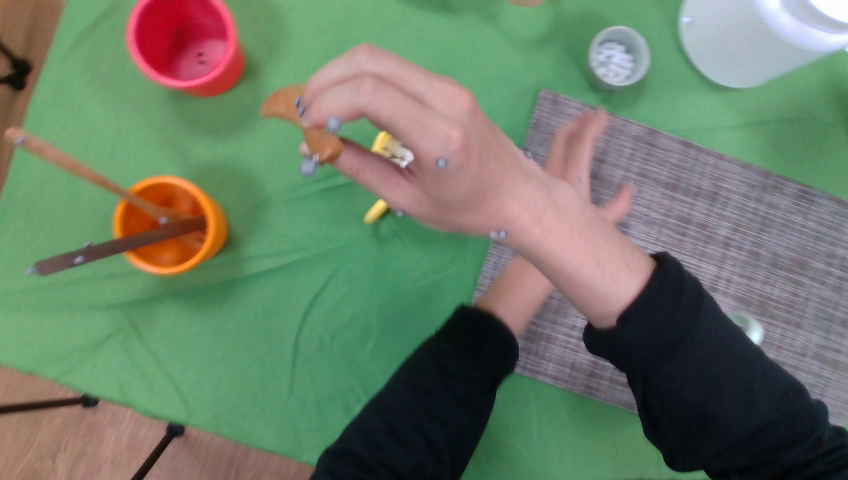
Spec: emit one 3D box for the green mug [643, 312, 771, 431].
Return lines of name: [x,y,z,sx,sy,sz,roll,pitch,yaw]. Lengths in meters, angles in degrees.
green mug: [0.294,0.127,0.619,0.092,0.105,0.125,36,89,-3]

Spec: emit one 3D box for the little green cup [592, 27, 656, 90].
little green cup: [0.209,-0.189,0.642,0.061,0.038,0.061,0,91,-3]

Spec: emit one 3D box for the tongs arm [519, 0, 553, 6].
tongs arm: [-0.011,-0.373,0.590,0.051,0.026,0.385,-42,92,-6]

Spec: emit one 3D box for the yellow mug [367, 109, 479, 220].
yellow mug: [-0.010,-0.067,0.615,0.131,0.064,0.100,-45,95,-1]

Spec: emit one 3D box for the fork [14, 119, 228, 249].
fork: [-0.266,-0.046,0.554,0.028,0.018,0.209,-54,137,-4]

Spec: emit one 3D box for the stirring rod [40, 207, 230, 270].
stirring rod: [-0.259,-0.005,0.561,0.176,0.006,0.014,-23,95,-45]

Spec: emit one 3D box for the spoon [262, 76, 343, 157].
spoon: [-0.059,-0.065,0.311,0.041,0.192,0.022,-22,117,-9]

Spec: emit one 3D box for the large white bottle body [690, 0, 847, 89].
large white bottle body: [0.357,-0.230,0.579,0.131,0.184,0.130,0,91,-3]

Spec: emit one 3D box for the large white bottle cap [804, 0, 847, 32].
large white bottle cap: [0.363,-0.228,0.495,0.115,0.018,0.115,0,91,-4]
